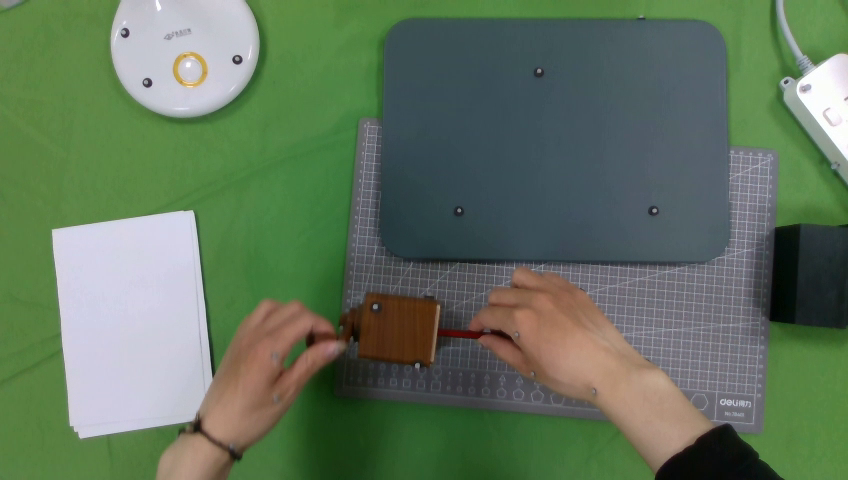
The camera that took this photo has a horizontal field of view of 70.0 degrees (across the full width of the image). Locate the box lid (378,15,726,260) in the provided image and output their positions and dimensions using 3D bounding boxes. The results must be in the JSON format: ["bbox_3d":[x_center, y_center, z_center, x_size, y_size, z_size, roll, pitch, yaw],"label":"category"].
[{"bbox_3d":[0.137,-0.111,0.648,0.371,0.015,0.263,1,87,1],"label":"box lid"}]

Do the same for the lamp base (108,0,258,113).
[{"bbox_3d":[-0.267,-0.231,0.577,0.160,0.180,0.178,-26,84,0],"label":"lamp base"}]

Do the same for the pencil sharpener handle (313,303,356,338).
[{"bbox_3d":[-0.079,0.073,0.549,0.030,0.067,0.036,7,97,2],"label":"pencil sharpener handle"}]

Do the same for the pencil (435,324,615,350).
[{"bbox_3d":[0.082,0.089,0.564,0.194,0.012,0.012,5,87,-1],"label":"pencil"}]

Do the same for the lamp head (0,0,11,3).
[{"bbox_3d":[-0.236,-0.204,0.301,0.112,0.124,0.111,-21,50,27],"label":"lamp head"}]

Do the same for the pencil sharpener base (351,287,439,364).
[{"bbox_3d":[-0.026,0.080,0.591,0.077,0.107,0.061,7,87,2],"label":"pencil sharpener base"}]

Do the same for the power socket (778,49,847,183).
[{"bbox_3d":[0.465,-0.097,0.631,0.072,0.032,0.226,-35,87,-1],"label":"power socket"}]
